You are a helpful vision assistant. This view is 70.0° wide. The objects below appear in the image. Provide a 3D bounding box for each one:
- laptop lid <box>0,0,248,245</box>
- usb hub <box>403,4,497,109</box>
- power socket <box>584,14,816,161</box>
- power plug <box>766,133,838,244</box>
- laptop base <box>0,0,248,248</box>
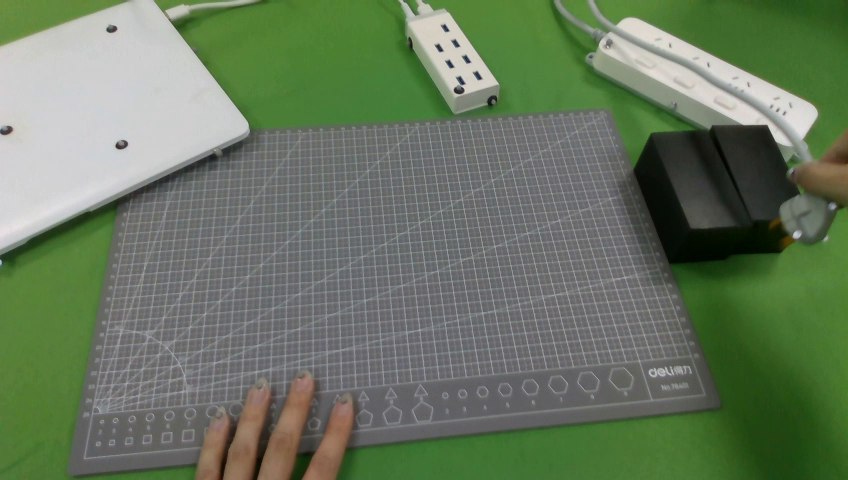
[{"bbox_3d":[-0.363,-0.098,0.528,0.357,0.013,0.239,-30,65,-19],"label":"laptop lid"},{"bbox_3d":[0.023,-0.187,0.609,0.049,0.025,0.124,-20,60,-14],"label":"usb hub"},{"bbox_3d":[0.268,-0.154,0.593,0.225,0.033,0.072,36,62,19],"label":"power socket"},{"bbox_3d":[0.272,-0.033,0.441,0.035,0.053,0.072,17,59,-13],"label":"power plug"},{"bbox_3d":[-0.365,-0.093,0.539,0.354,0.023,0.233,-31,66,-20],"label":"laptop base"}]
